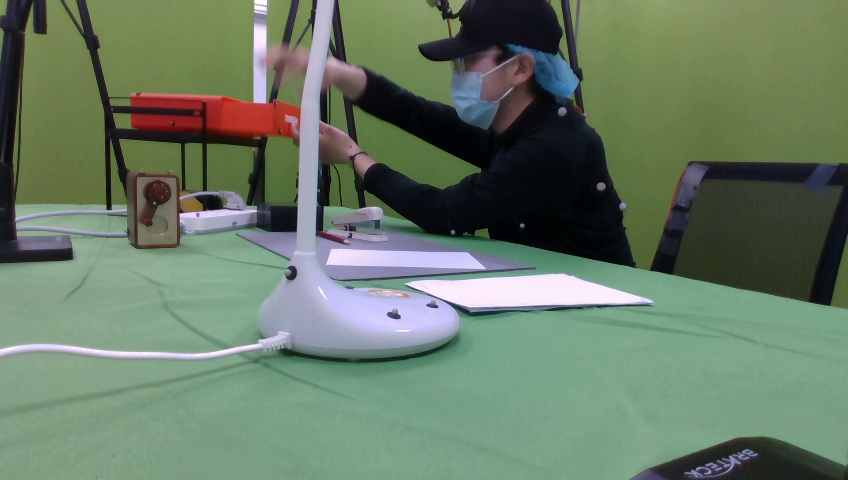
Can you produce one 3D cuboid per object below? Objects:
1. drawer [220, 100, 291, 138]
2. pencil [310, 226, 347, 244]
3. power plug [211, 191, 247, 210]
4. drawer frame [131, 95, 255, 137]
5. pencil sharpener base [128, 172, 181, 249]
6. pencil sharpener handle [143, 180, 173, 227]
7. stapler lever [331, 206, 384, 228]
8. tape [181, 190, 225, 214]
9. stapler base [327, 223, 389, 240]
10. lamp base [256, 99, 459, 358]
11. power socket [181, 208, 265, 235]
[{"bbox_3d":[-0.391,-0.270,1.359,0.211,0.073,0.195,3,8,10],"label":"drawer"},{"bbox_3d":[-0.172,-0.009,1.041,0.012,0.012,0.193,-3,11,-32],"label":"pencil"},{"bbox_3d":[-0.386,-0.071,1.204,0.072,0.052,0.035,7,9,27],"label":"power plug"},{"bbox_3d":[-0.507,-0.280,1.376,0.213,0.082,0.202,3,8,8],"label":"drawer frame"},{"bbox_3d":[-0.395,-0.044,0.887,0.062,0.107,0.076,-2,9,-34],"label":"pencil sharpener base"},{"bbox_3d":[-0.371,-0.050,0.840,0.036,0.067,0.030,24,-6,-34],"label":"pencil sharpener handle"},{"bbox_3d":[-0.118,-0.043,1.070,0.117,0.040,0.027,7,8,41],"label":"stapler lever"},{"bbox_3d":[-0.515,-0.087,1.388,0.117,0.052,0.117,3,7,0],"label":"tape"},{"bbox_3d":[-0.117,-0.018,1.073,0.130,0.024,0.041,7,8,41],"label":"stapler base"},{"bbox_3d":[-0.055,-0.013,0.463,0.160,0.180,0.180,6,11,27],"label":"lamp base"},{"bbox_3d":[-0.381,-0.038,1.129,0.072,0.032,0.227,4,8,17],"label":"power socket"}]
